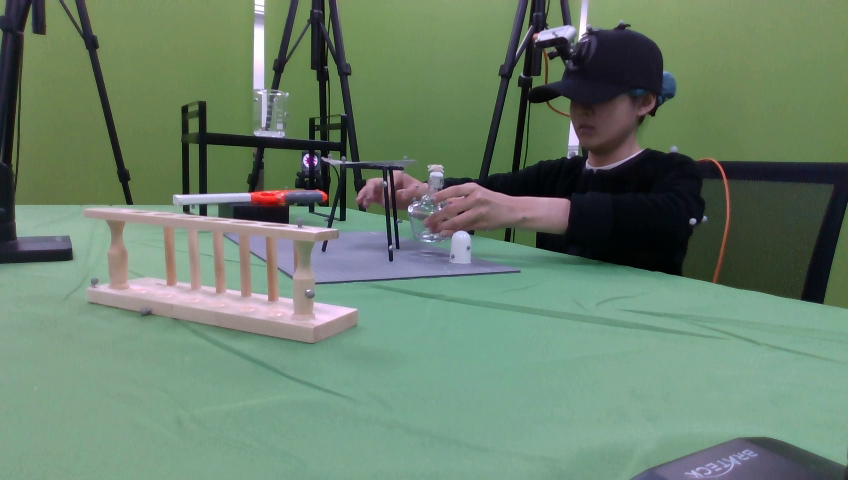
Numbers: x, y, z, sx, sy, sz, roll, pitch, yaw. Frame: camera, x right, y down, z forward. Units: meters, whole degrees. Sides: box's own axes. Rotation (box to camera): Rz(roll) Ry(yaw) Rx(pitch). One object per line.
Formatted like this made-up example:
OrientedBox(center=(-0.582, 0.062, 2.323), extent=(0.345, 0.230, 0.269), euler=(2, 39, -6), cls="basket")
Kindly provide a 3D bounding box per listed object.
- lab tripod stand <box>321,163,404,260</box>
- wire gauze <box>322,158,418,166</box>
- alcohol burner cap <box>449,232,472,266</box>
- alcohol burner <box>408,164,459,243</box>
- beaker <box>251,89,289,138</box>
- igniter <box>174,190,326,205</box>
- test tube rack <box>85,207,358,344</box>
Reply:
OrientedBox(center=(-0.076, -0.045, 0.884), extent=(0.148, 0.131, 0.148), euler=(2, 5, 0), cls="lab tripod stand")
OrientedBox(center=(-0.081, -0.112, 0.877), extent=(0.122, 0.011, 0.124), euler=(0, 6, -18), cls="wire gauze")
OrientedBox(center=(0.052, 0.012, 0.843), extent=(0.034, 0.048, 0.034), euler=(2, 7, 0), cls="alcohol burner cap")
OrientedBox(center=(0.016, -0.056, 0.912), extent=(0.078, 0.119, 0.078), euler=(5, 15, -1), cls="alcohol burner")
OrientedBox(center=(-0.334, -0.273, 1.316), extent=(0.084, 0.100, 0.074), euler=(6, 8, 15), cls="beaker")
OrientedBox(center=(-0.317, -0.079, 1.132), extent=(0.278, 0.025, 0.057), euler=(-4, 13, -32), cls="igniter")
OrientedBox(center=(-0.177, 0.022, 0.518), extent=(0.241, 0.085, 0.067), euler=(6, 7, 23), cls="test tube rack")
